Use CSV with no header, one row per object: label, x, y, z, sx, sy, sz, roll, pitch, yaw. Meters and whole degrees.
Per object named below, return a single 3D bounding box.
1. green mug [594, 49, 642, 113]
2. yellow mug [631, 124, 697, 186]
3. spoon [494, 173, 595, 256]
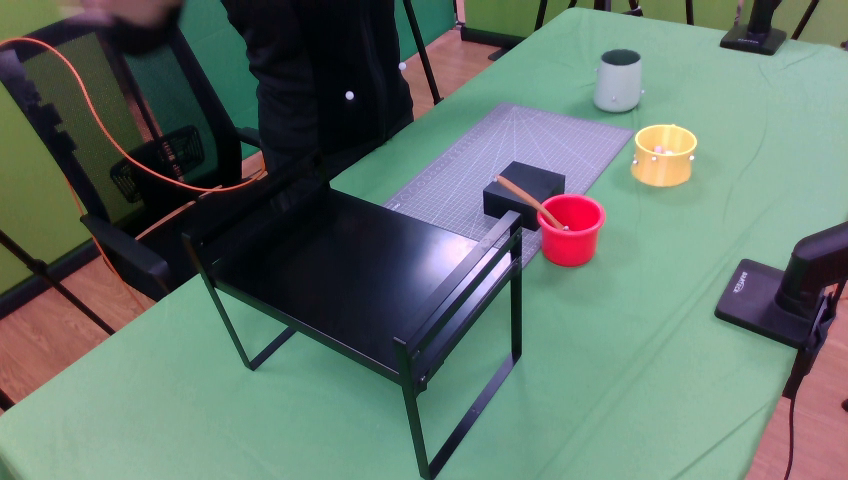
green mug,0.397,-0.333,1.240,0.092,0.105,0.125,-3,41,7
yellow mug,0.424,-0.158,1.062,0.099,0.064,0.131,15,45,24
spoon,0.181,-0.040,0.902,0.194,0.021,0.041,40,50,-14
